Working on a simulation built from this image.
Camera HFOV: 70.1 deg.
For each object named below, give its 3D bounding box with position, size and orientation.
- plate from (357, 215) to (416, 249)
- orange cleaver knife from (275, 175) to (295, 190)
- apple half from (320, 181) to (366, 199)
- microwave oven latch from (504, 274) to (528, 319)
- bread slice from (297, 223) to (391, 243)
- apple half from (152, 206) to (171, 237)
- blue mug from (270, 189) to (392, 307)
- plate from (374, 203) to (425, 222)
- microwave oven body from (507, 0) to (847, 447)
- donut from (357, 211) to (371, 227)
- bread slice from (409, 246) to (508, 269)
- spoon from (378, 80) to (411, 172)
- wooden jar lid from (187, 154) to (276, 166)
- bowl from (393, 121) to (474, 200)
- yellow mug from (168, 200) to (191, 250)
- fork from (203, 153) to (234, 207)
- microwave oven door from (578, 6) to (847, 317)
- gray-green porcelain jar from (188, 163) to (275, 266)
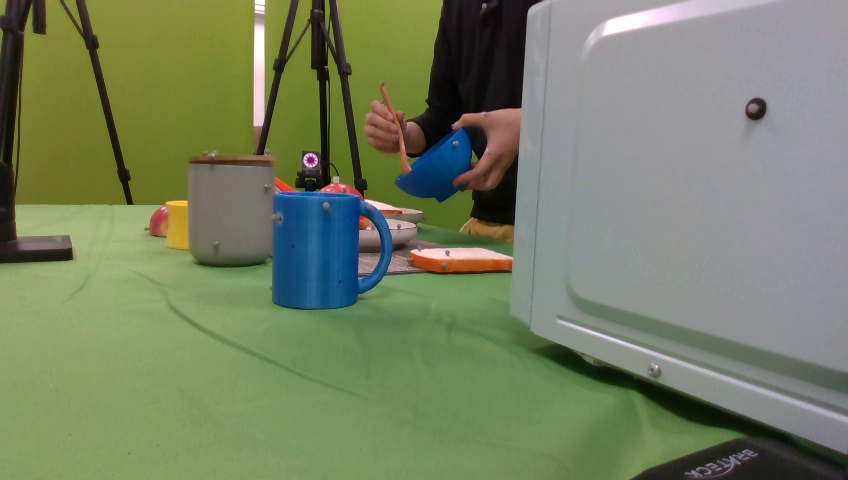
[{"bbox_3d":[-0.116,-0.014,0.967,0.208,0.039,0.207,2,7,0],"label":"plate"},{"bbox_3d":[-0.283,-0.087,1.343,0.212,0.077,0.012,24,-16,-41],"label":"orange cleaver knife"},{"bbox_3d":[-0.130,-0.077,0.952,0.081,0.033,0.081,3,15,0],"label":"apple half"},{"bbox_3d":[0.100,0.041,0.471,0.079,0.029,0.030,-1,7,-27],"label":"microwave oven latch"},{"bbox_3d":[-0.121,-0.013,0.971,0.106,0.018,0.135,9,11,42],"label":"bread slice"},{"bbox_3d":[-0.415,-0.034,1.017,0.081,0.053,0.074,1,10,-9],"label":"apple half"},{"bbox_3d":[-0.090,0.005,0.588,0.117,0.106,0.082,1,7,-11],"label":"blue mug"},{"bbox_3d":[-0.102,-0.053,1.299,0.209,0.038,0.209,2,8,0],"label":"plate"},{"bbox_3d":[0.331,-0.042,0.425,0.444,0.260,0.324,-2,8,-31],"label":"microwave oven body"},{"bbox_3d":[-0.132,-0.041,0.959,0.099,0.048,0.099,3,8,0],"label":"donut"},{"bbox_3d":[0.048,0.021,0.816,0.132,0.019,0.104,0,7,-24],"label":"bread slice"},{"bbox_3d":[-0.044,-0.182,1.026,0.022,0.193,0.041,-13,-7,-17],"label":"spoon"},{"bbox_3d":[-0.244,-0.097,0.771,0.108,0.020,0.108,-1,7,0],"label":"wooden jar lid"},{"bbox_3d":[0.030,-0.120,1.007,0.151,0.077,0.151,-39,10,8],"label":"bowl"},{"bbox_3d":[-0.319,-0.023,0.904,0.130,0.064,0.100,8,10,36],"label":"yellow mug"},{"bbox_3d":[-0.480,-0.134,1.411,0.028,0.018,0.207,1,-35,0],"label":"fork"},{"bbox_3d":[0.294,-0.067,0.570,0.358,0.243,0.039,-3,9,-31],"label":"microwave oven door"},{"bbox_3d":[-0.246,-0.034,0.779,0.106,0.126,0.106,2,7,0],"label":"gray-green porcelain jar"}]
